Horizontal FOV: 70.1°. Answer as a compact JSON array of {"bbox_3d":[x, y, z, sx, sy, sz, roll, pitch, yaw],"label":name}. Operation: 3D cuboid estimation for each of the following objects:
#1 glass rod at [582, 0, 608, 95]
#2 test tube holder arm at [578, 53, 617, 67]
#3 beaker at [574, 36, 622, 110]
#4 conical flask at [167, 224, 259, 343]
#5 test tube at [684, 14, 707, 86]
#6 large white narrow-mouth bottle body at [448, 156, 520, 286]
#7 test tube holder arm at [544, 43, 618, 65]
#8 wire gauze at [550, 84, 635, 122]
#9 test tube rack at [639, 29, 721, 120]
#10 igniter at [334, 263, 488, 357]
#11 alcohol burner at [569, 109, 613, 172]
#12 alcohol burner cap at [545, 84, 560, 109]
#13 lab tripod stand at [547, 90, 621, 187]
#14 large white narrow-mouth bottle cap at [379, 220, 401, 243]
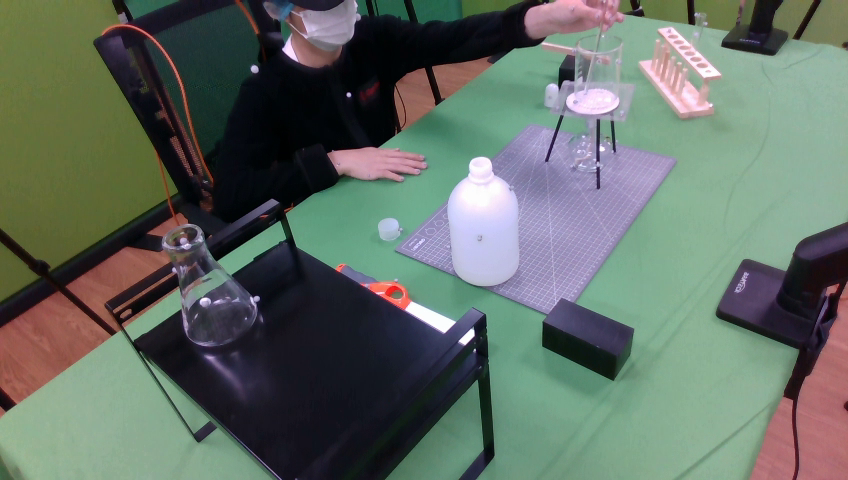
[{"bbox_3d":[0.267,-0.314,0.930,0.008,0.200,0.008,2,42,-1],"label":"glass rod"},{"bbox_3d":[0.376,-0.394,1.314,0.087,0.015,0.010,26,49,32],"label":"test tube holder arm"},{"bbox_3d":[0.285,-0.273,0.990,0.073,0.101,0.084,15,46,27],"label":"beaker"},{"bbox_3d":[-0.220,0.041,0.613,0.075,0.122,0.075,-5,40,4],"label":"conical flask"},{"bbox_3d":[0.541,-0.379,1.216,0.017,0.151,0.017,-2,44,2],"label":"test tube"},{"bbox_3d":[0.086,-0.032,0.869,0.102,0.195,0.101,-4,40,4],"label":"large white narrow-mouth bottle body"},{"bbox_3d":[0.345,-0.413,1.341,0.177,0.015,0.013,25,49,32],"label":"test tube holder arm"},{"bbox_3d":[0.285,-0.234,1.021,0.124,0.011,0.121,8,41,24],"label":"wire gauze"},{"bbox_3d":[0.527,-0.351,1.262,0.067,0.085,0.241,-8,40,1],"label":"test tube rack"},{"bbox_3d":[-0.030,0.095,0.872,0.274,0.025,0.057,23,60,31],"label":"igniter"},{"bbox_3d":[0.297,-0.181,1.073,0.078,0.119,0.077,-5,43,5],"label":"alcohol burner"},{"bbox_3d":[0.274,-0.307,1.285,0.034,0.048,0.033,-5,42,5],"label":"alcohol burner cap"},{"bbox_3d":[0.289,-0.184,1.062,0.148,0.132,0.147,-6,41,6],"label":"lab tripod stand"},{"bbox_3d":[-0.057,-0.015,1.011,0.038,0.024,0.037,-4,40,4],"label":"large white narrow-mouth bottle cap"}]
